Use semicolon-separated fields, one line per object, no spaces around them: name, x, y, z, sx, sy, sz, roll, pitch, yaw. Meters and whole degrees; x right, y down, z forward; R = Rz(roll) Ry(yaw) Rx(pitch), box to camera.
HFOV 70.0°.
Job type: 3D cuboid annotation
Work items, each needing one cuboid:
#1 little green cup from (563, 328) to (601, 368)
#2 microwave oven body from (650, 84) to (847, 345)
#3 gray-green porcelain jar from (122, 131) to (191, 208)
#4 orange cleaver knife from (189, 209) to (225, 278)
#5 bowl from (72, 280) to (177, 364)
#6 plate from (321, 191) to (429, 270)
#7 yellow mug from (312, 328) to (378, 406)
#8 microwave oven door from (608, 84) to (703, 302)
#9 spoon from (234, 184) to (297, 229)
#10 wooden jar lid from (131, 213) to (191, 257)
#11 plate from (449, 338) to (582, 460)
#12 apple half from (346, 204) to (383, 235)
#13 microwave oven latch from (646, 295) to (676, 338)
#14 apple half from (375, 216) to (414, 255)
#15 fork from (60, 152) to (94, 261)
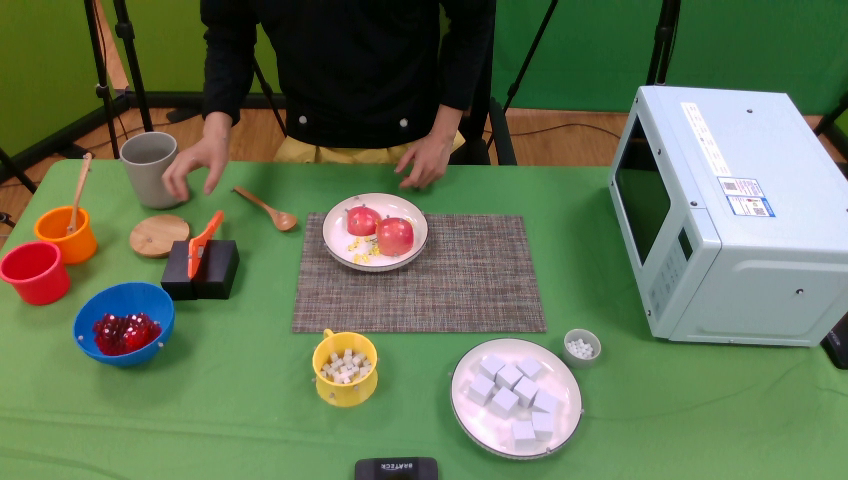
little green cup;0.266;0.185;1.025;0.061;0.039;0.061;1;45;-1
microwave oven body;0.569;-0.054;1.116;0.326;0.261;0.439;2;46;-1
gray-green porcelain jar;-0.531;-0.137;1.213;0.106;0.127;0.105;2;46;-2
orange cleaver knife;-0.400;0.002;1.122;0.012;0.077;0.210;4;22;-4
bowl;-0.473;0.147;0.982;0.151;0.077;0.150;2;46;-2
plate;-0.094;-0.015;1.185;0.209;0.038;0.208;2;46;-2
yellow mug;-0.132;0.193;0.971;0.100;0.064;0.130;-22;51;-22
microwave oven door;0.424;-0.096;1.138;0.039;0.245;0.353;3;46;-1
spoon;-0.327;-0.073;1.239;0.193;0.022;0.041;34;70;25
wooden jar lid;-0.504;-0.008;1.167;0.108;0.021;0.107;3;46;-3
plate;0.141;0.251;0.956;0.208;0.039;0.206;2;46;-2
apple half;-0.119;-0.049;1.207;0.081;0.033;0.081;2;50;-2
microwave oven latch;0.413;0.133;1.061;0.030;0.029;0.078;4;46;1
apple half;-0.056;-0.017;1.169;0.075;0.053;0.080;0;45;-7
fork;-0.638;-0.063;1.119;0.028;0.018;0.207;12;90;8
